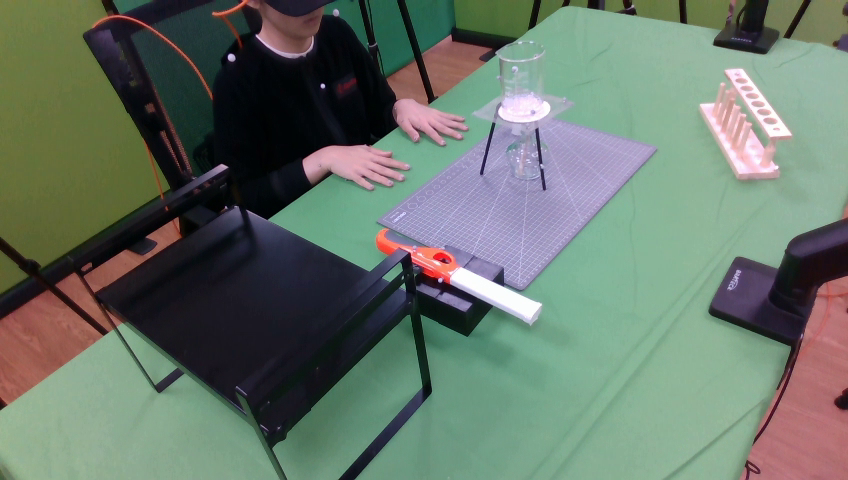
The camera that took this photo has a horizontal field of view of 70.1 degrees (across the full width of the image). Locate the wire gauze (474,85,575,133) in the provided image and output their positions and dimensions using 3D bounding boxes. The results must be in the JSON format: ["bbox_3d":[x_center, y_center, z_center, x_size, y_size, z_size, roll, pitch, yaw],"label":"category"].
[{"bbox_3d":[0.168,-0.219,1.016,0.125,0.011,0.120,-38,45,-26],"label":"wire gauze"}]

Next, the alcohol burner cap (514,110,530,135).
[{"bbox_3d":[0.194,-0.235,1.200,0.034,0.048,0.033,-5,42,5],"label":"alcohol burner cap"}]

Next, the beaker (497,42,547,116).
[{"bbox_3d":[0.160,-0.262,0.990,0.083,0.101,0.074,16,46,28],"label":"beaker"}]

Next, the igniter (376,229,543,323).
[{"bbox_3d":[0.038,0.044,0.843,0.274,0.025,0.057,25,47,29],"label":"igniter"}]

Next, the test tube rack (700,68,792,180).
[{"bbox_3d":[0.572,-0.215,1.090,0.066,0.085,0.241,-3,41,7],"label":"test tube rack"}]

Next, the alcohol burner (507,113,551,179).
[{"bbox_3d":[0.186,-0.169,1.069,0.078,0.119,0.077,-5,39,4],"label":"alcohol burner"}]

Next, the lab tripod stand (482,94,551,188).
[{"bbox_3d":[0.172,-0.176,1.064,0.148,0.132,0.147,-5,42,5],"label":"lab tripod stand"}]
